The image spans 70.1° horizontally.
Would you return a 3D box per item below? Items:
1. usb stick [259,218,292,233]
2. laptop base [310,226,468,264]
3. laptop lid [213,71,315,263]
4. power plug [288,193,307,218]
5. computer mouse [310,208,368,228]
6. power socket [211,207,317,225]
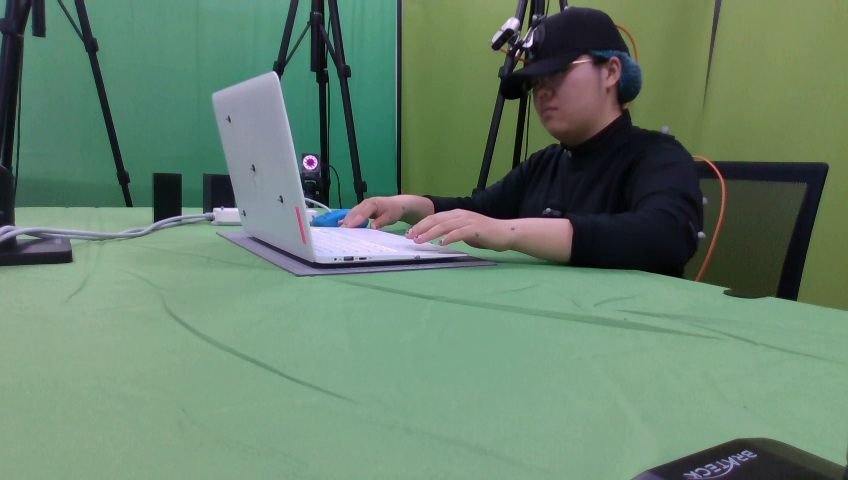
[{"bbox_3d":[-0.272,-0.026,1.108,0.059,0.027,0.021,-3,12,-27],"label":"usb stick"},{"bbox_3d":[-0.122,0.006,0.954,0.237,0.023,0.352,2,6,-31],"label":"laptop base"},{"bbox_3d":[-0.241,-0.104,0.865,0.013,0.241,0.355,-16,17,-28],"label":"laptop lid"},{"bbox_3d":[-0.281,-0.076,1.340,0.035,0.052,0.072,4,6,-18],"label":"power plug"},{"bbox_3d":[-0.179,-0.045,1.274,0.118,0.041,0.062,-6,13,-29],"label":"computer mouse"},{"bbox_3d":[-0.334,-0.051,1.282,0.228,0.032,0.072,-1,9,-27],"label":"power socket"}]
